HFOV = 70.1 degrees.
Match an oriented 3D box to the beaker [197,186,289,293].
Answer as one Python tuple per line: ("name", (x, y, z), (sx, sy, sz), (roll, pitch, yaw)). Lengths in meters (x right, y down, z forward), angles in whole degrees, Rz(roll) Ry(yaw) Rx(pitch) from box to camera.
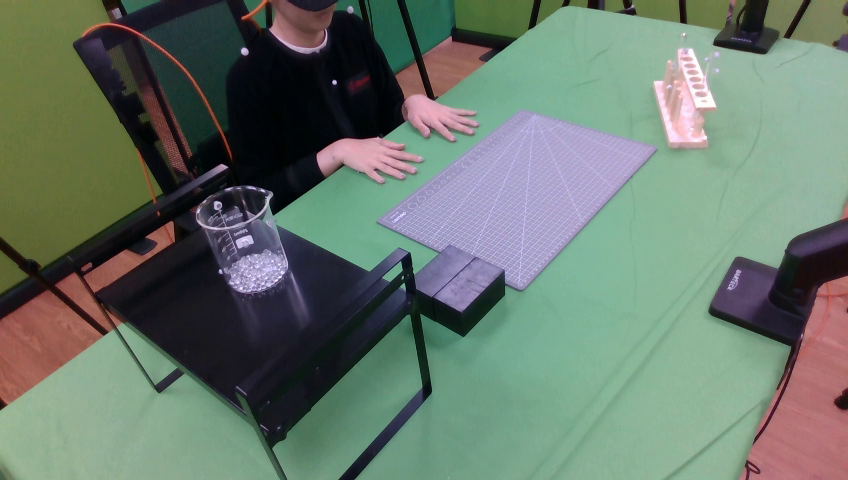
("beaker", (-0.192, 0.001, 0.666), (0.084, 0.101, 0.073), (-33, 47, -27))

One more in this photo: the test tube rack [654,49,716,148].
("test tube rack", (0.502, -0.281, 1.176), (0.066, 0.085, 0.241), (1, 41, 11))

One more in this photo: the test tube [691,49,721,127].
("test tube", (0.505, -0.269, 1.087), (0.017, 0.151, 0.017), (-1, 41, 1))

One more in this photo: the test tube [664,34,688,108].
("test tube", (0.483, -0.322, 1.159), (0.017, 0.151, 0.017), (-3, 42, 3))
